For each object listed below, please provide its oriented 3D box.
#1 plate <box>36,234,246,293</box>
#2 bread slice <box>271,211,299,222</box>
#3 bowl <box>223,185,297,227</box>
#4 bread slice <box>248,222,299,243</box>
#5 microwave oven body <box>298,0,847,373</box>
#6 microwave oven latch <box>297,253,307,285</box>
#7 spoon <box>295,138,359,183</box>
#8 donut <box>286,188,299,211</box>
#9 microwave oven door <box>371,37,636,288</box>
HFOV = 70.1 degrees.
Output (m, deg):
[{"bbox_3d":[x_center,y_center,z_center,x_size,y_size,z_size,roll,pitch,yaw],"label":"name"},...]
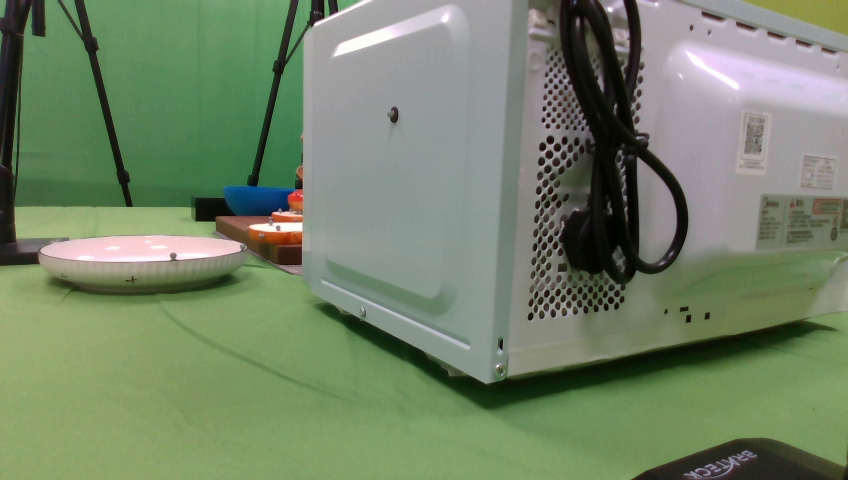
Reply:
[{"bbox_3d":[-0.305,0.026,0.668,0.208,0.039,0.207,2,7,0],"label":"plate"},{"bbox_3d":[-0.197,-0.038,1.051,0.132,0.019,0.104,-1,7,-31],"label":"bread slice"},{"bbox_3d":[-0.330,-0.068,1.230,0.151,0.077,0.151,3,8,0],"label":"bowl"},{"bbox_3d":[-0.174,-0.012,0.844,0.135,0.018,0.106,-6,10,-44],"label":"bread slice"},{"bbox_3d":[0.151,-0.055,0.543,0.444,0.260,0.324,-2,7,-33],"label":"microwave oven body"},{"bbox_3d":[-0.082,0.027,0.582,0.079,0.029,0.030,-1,7,-32],"label":"microwave oven latch"},{"bbox_3d":[-0.171,-0.150,1.113,0.041,0.021,0.194,41,44,3],"label":"spoon"},{"bbox_3d":[-0.190,-0.068,1.055,0.099,0.048,0.099,3,6,0],"label":"donut"},{"bbox_3d":[0.109,-0.080,0.687,0.358,0.243,0.039,-2,9,-33],"label":"microwave oven door"}]
